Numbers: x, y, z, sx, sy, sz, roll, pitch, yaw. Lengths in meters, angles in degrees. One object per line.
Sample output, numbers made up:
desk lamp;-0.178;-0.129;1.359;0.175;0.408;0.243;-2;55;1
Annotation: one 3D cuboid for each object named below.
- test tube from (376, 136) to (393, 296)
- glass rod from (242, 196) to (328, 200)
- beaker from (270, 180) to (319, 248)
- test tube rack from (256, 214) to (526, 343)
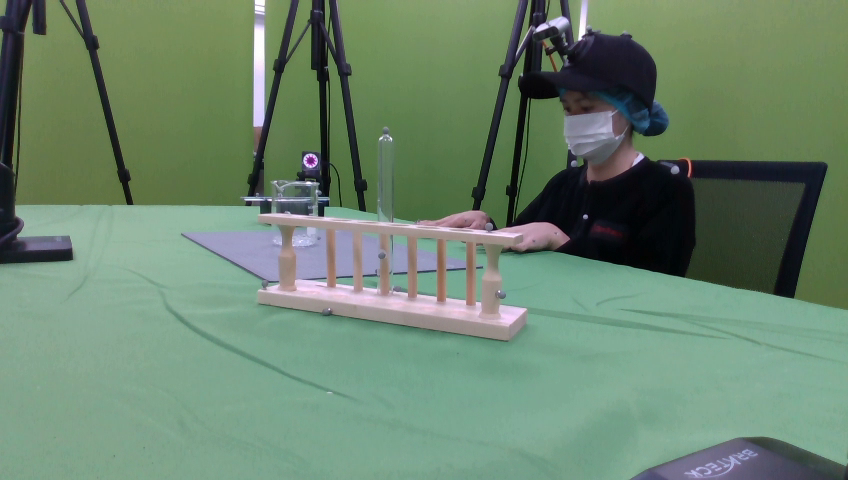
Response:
test tube;-0.037;-0.021;0.565;0.017;0.150;0.017;1;6;0
glass rod;-0.287;-0.089;1.268;0.201;0.008;0.008;-4;10;-43
beaker;-0.203;-0.040;0.935;0.074;0.100;0.084;5;8;18
test tube rack;-0.032;0.027;0.547;0.241;0.085;0.067;5;7;22
